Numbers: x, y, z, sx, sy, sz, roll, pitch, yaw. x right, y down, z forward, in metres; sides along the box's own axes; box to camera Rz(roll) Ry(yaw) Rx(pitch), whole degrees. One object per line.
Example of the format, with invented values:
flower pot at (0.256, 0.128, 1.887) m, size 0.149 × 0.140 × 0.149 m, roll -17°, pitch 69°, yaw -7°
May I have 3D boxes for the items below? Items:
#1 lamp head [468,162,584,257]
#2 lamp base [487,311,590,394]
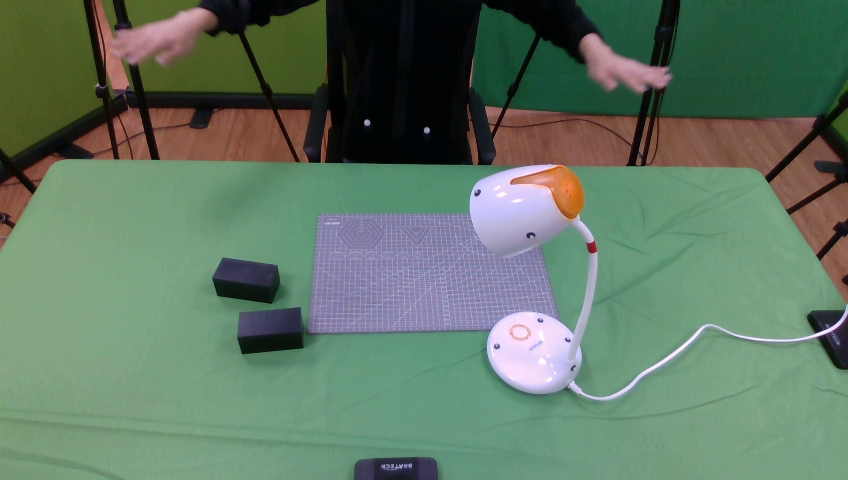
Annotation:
lamp head at (0.136, -0.043, 0.746) m, size 0.122 × 0.113 × 0.112 m, roll -15°, pitch 30°, yaw 42°
lamp base at (0.199, 0.142, 0.962) m, size 0.178 × 0.181 × 0.160 m, roll 38°, pitch 56°, yaw 24°
